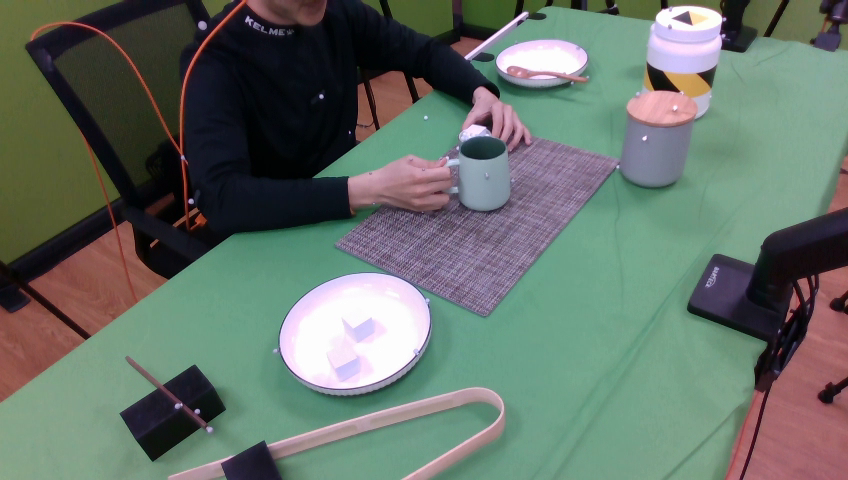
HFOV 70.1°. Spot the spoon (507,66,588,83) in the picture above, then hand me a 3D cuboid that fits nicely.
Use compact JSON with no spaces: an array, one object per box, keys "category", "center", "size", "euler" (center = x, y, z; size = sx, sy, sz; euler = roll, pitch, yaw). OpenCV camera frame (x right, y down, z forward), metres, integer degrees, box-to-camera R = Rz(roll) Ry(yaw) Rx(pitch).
[{"category":"spoon","center":[0.265,-0.357,1.311],"size":[0.192,0.022,0.042],"euler":[18,47,38]}]

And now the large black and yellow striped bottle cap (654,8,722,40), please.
[{"category":"large black and yellow striped bottle cap","center":[0.483,-0.397,1.108],"size":[0.115,0.019,0.114],"euler":[-3,41,3]}]

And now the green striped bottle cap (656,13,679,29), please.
[{"category":"green striped bottle cap","center":[0.515,-0.463,1.278],"size":[0.044,0.020,0.044],"euler":[-6,42,6]}]

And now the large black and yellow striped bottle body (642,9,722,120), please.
[{"category":"large black and yellow striped bottle body","center":[0.493,-0.334,1.161],"size":[0.131,0.185,0.130],"euler":[-4,41,4]}]

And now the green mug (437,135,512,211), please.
[{"category":"green mug","center":[0.084,-0.108,1.013],"size":[0.125,0.105,0.092],"euler":[-9,40,-3]}]

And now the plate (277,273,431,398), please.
[{"category":"plate","center":[-0.091,0.129,0.821],"size":[0.207,0.039,0.206],"euler":[-4,40,4]}]

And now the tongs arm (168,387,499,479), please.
[{"category":"tongs arm","center":[-0.100,0.230,0.711],"size":[0.388,0.028,0.028],"euler":[-13,32,-7]}]

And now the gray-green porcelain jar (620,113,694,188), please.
[{"category":"gray-green porcelain jar","center":[0.390,-0.160,1.020],"size":[0.106,0.127,0.105],"euler":[-4,41,4]}]

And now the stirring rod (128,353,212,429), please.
[{"category":"stirring rod","center":[-0.311,0.181,0.732],"size":[0.175,0.014,0.006],"euler":[25,55,32]}]

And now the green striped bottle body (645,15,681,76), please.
[{"category":"green striped bottle body","center":[0.520,-0.424,1.312],"size":[0.063,0.120,0.063],"euler":[-4,41,4]}]

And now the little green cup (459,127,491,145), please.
[{"category":"little green cup","center":[0.098,-0.184,1.150],"size":[0.061,0.039,0.061],"euler":[-2,42,3]}]

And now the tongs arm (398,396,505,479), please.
[{"category":"tongs arm","center":[-0.071,0.272,0.652],"size":[0.386,0.026,0.050],"euler":[-21,37,-17]}]

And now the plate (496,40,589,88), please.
[{"category":"plate","center":[0.269,-0.398,1.381],"size":[0.209,0.038,0.208],"euler":[-4,41,4]}]

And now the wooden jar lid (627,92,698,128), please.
[{"category":"wooden jar lid","center":[0.384,-0.207,0.980],"size":[0.108,0.021,0.108],"euler":[-6,39,5]}]
